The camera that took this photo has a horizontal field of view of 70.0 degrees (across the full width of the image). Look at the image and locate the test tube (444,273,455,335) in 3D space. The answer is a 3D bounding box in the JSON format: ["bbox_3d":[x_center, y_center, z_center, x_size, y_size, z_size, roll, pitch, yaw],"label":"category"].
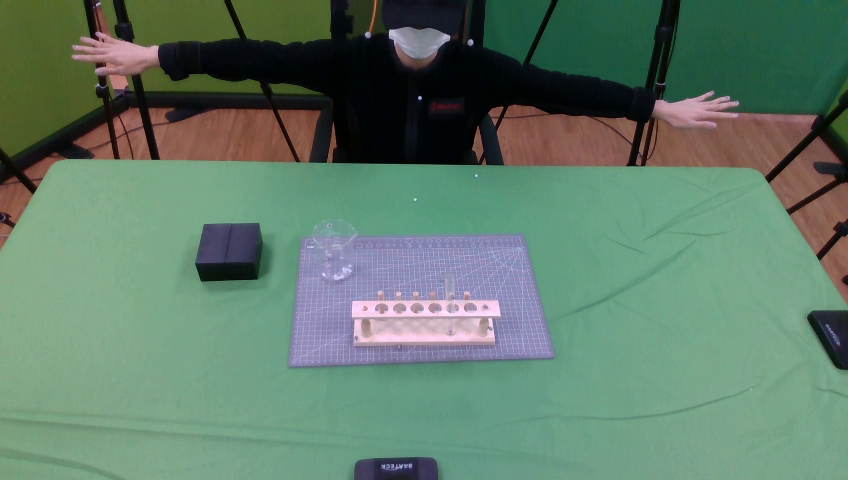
[{"bbox_3d":[0.042,0.107,0.981,0.017,0.151,0.017,-1,47,2],"label":"test tube"}]

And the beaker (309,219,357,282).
[{"bbox_3d":[-0.164,0.021,1.107,0.084,0.101,0.073,-5,47,-11],"label":"beaker"}]

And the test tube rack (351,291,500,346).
[{"bbox_3d":[0.001,0.129,1.026,0.242,0.085,0.066,0,46,-4],"label":"test tube rack"}]
